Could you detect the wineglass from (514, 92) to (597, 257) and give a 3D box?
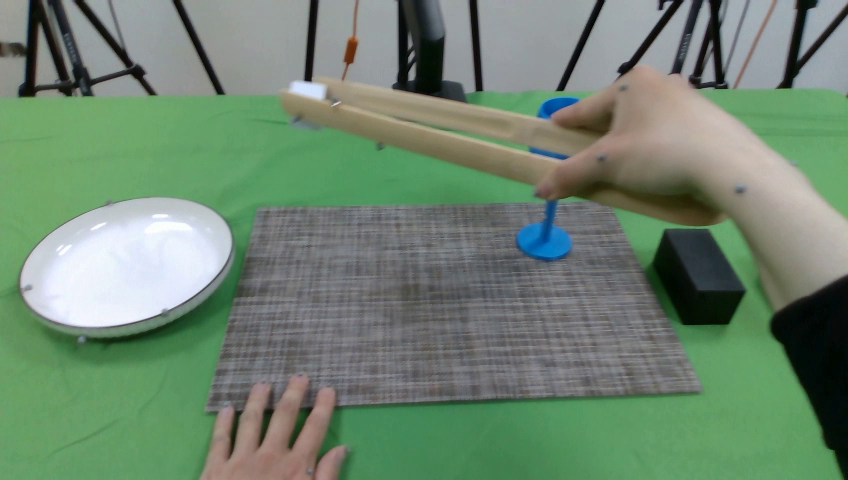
[{"bbox_3d":[0.141,-0.069,0.665,0.074,0.174,0.073,1,40,0],"label":"wineglass"}]

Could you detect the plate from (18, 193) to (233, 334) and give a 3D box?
[{"bbox_3d":[-0.309,0.024,0.645,0.209,0.038,0.207,1,40,-1],"label":"plate"}]

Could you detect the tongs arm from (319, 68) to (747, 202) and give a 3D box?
[{"bbox_3d":[0.054,-0.096,0.487,0.384,0.028,0.028,21,37,31],"label":"tongs arm"}]

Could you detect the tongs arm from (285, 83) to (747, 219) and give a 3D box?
[{"bbox_3d":[0.037,-0.082,0.468,0.381,0.027,0.051,23,41,33],"label":"tongs arm"}]
